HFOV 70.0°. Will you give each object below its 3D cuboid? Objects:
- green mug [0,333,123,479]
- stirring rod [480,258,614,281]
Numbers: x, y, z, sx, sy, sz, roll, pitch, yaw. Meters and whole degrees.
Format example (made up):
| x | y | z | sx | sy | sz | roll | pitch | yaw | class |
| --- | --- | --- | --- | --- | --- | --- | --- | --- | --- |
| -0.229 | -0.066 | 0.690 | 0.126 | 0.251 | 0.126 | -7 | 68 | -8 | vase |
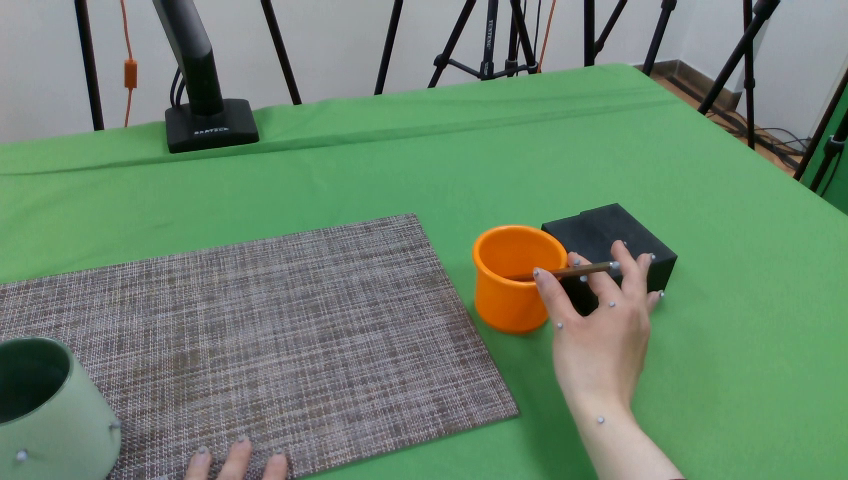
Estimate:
| x | y | z | sx | sy | sz | roll | pitch | yaw | class |
| --- | --- | --- | --- | --- | --- | --- | --- | --- | --- |
| -0.292 | 0.135 | 0.430 | 0.125 | 0.106 | 0.091 | -19 | 44 | -23 | green mug |
| 0.106 | 0.028 | 0.559 | 0.014 | 0.006 | 0.175 | -22 | 4 | -31 | stirring rod |
